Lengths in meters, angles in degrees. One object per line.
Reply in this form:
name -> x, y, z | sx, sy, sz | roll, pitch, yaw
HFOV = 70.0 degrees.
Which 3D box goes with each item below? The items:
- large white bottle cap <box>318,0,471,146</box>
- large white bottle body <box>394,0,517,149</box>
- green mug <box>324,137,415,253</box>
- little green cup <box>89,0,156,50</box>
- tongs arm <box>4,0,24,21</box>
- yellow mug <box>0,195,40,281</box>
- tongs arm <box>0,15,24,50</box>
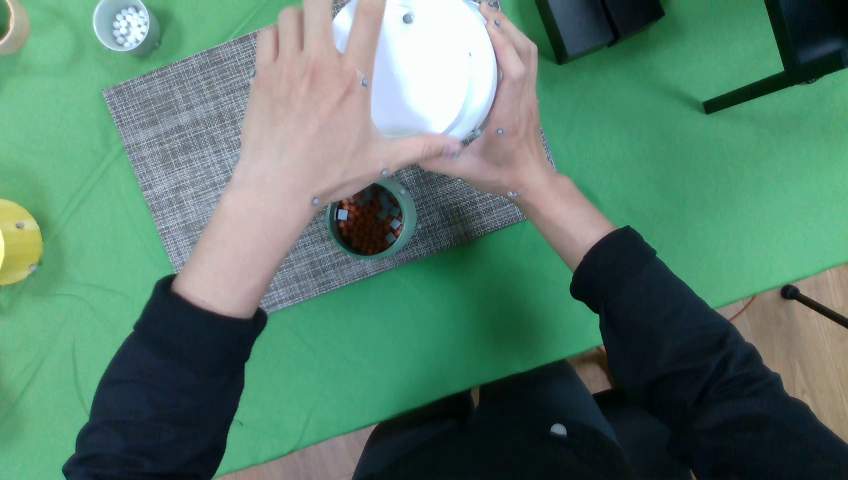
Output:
large white bottle cap -> -0.023, -0.126, 0.442 | 0.114, 0.018, 0.115 | 5, 109, 15
large white bottle body -> 0.002, -0.149, 0.520 | 0.130, 0.184, 0.131 | 5, 108, 17
green mug -> -0.059, -0.046, 0.639 | 0.092, 0.105, 0.125 | -3, 95, 2
little green cup -> -0.326, -0.238, 0.660 | 0.061, 0.038, 0.061 | 0, 96, 0
tongs arm -> -0.595, -0.315, 0.626 | 0.387, 0.028, 0.028 | 22, 88, 0
yellow mug -> -0.498, 0.015, 0.671 | 0.100, 0.064, 0.131 | 12, 96, -1
tongs arm -> -0.615, -0.233, 0.632 | 0.385, 0.026, 0.051 | 9, 92, 2
